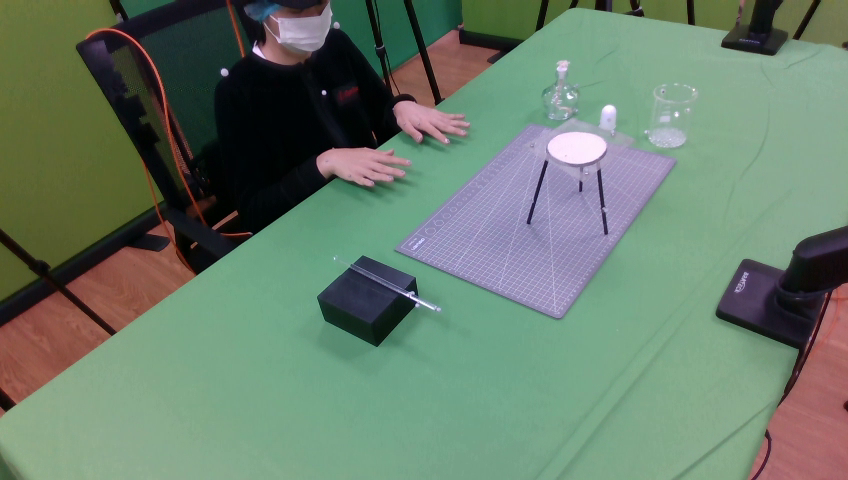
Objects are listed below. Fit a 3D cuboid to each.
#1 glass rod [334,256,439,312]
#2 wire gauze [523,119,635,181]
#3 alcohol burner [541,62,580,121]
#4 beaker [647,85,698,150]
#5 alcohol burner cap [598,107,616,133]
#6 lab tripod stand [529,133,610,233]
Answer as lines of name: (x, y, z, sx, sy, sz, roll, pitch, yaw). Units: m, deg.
glass rod: (-0.058, 0.060, 0.850, 0.198, 0.008, 0.008, 24, 49, 33)
wire gauze: (0.233, -0.143, 0.913, 0.122, 0.011, 0.124, -32, 45, -25)
alcohol burner: (0.276, -0.302, 1.222, 0.078, 0.119, 0.077, -4, 38, 4)
beaker: (0.454, -0.223, 1.110, 0.084, 0.101, 0.073, -10, 40, -4)
alcohol burner cap: (0.361, -0.238, 1.189, 0.034, 0.048, 0.033, -4, 40, 4)
lab tripod stand: (0.236, -0.089, 0.953, 0.148, 0.132, 0.147, -5, 42, 5)
